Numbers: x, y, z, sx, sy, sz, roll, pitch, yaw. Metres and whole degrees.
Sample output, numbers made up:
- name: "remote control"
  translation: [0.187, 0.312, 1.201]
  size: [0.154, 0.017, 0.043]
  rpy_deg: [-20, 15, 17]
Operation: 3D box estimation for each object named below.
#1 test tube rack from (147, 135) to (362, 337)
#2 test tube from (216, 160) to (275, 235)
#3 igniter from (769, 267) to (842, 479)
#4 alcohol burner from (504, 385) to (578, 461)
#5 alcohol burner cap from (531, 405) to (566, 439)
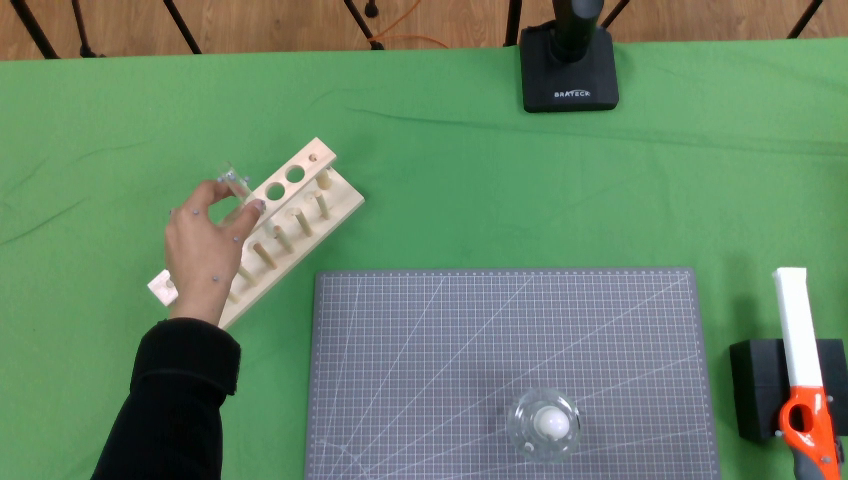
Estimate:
- name: "test tube rack"
  translation: [-0.186, -0.003, 0.697]
  size: [0.066, 0.085, 0.242]
  rpy_deg: [43, 79, 13]
- name: "test tube"
  translation: [-0.187, -0.041, 0.651]
  size: [0.017, 0.151, 0.017]
  rpy_deg: [-2, 66, 5]
- name: "igniter"
  translation: [0.388, 0.162, 0.621]
  size: [0.057, 0.025, 0.275]
  rpy_deg: [2, 71, 4]
- name: "alcohol burner"
  translation: [0.122, 0.186, 0.619]
  size: [0.078, 0.120, 0.077]
  rpy_deg: [0, 71, 0]
- name: "alcohol burner cap"
  translation: [0.122, 0.176, 0.585]
  size: [0.034, 0.048, 0.033]
  rpy_deg: [-1, 75, 5]
